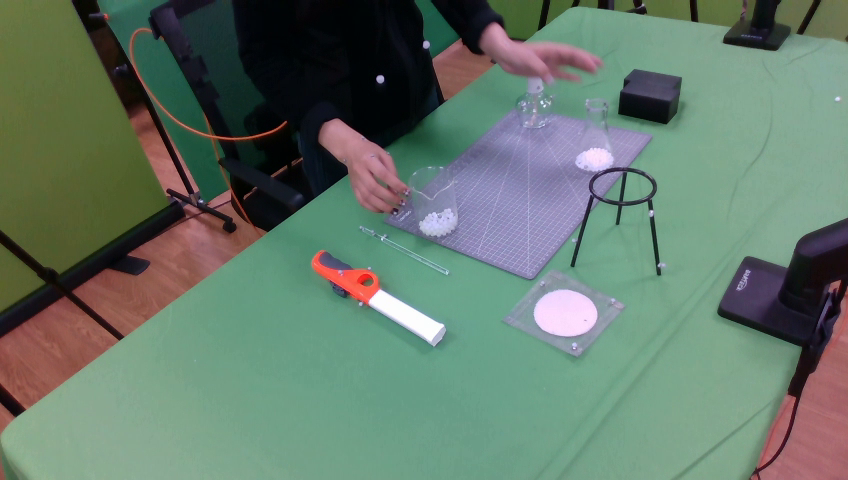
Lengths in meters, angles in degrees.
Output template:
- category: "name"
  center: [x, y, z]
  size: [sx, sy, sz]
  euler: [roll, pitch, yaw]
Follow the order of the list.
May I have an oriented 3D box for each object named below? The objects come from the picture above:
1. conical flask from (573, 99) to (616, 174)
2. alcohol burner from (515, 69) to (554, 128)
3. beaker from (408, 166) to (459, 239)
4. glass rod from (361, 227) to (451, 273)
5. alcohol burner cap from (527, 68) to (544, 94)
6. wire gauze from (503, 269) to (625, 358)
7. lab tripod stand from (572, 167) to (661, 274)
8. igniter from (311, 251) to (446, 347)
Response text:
- category: "conical flask"
  center: [0.302, -0.184, 1.061]
  size: [0.075, 0.122, 0.075]
  euler: [-5, 40, 5]
- category: "alcohol burner"
  center: [0.221, -0.285, 1.203]
  size: [0.078, 0.119, 0.077]
  euler: [-4, 39, 4]
- category: "beaker"
  center: [0.018, -0.057, 0.984]
  size: [0.074, 0.101, 0.083]
  euler: [-6, 41, 5]
- category: "glass rod"
  center: [-0.033, 0.014, 0.985]
  size: [0.198, 0.008, 0.008]
  euler: [25, 51, 34]
- category: "alcohol burner cap"
  center: [0.216, -0.312, 1.179]
  size: [0.034, 0.048, 0.033]
  euler: [-10, 40, 9]
- category: "wire gauze"
  center: [0.194, 0.100, 0.840]
  size: [0.120, 0.011, 0.125]
  euler: [27, 54, 36]
- category: "lab tripod stand"
  center: [0.284, -0.030, 0.879]
  size: [0.148, 0.132, 0.147]
  euler: [-7, 38, 6]
- category: "igniter"
  center: [-0.078, 0.081, 0.899]
  size: [0.274, 0.025, 0.057]
  euler: [27, 63, 36]
